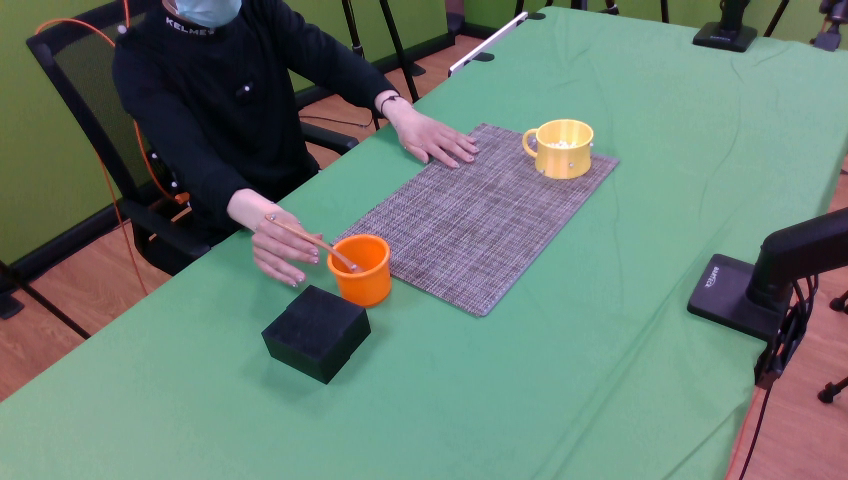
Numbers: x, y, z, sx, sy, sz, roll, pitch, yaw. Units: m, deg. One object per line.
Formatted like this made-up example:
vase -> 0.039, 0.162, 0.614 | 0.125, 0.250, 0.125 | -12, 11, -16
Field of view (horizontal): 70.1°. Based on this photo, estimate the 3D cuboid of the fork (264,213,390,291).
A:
fork -> -0.137, 0.018, 0.869 | 0.208, 0.018, 0.028 | 35, 38, -19

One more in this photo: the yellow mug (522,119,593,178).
yellow mug -> 0.237, -0.169, 1.092 | 0.130, 0.064, 0.100 | 17, 46, 27
